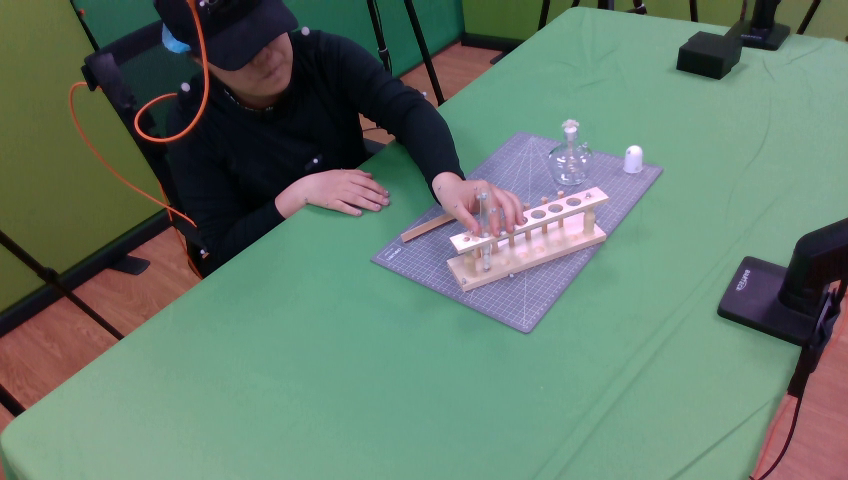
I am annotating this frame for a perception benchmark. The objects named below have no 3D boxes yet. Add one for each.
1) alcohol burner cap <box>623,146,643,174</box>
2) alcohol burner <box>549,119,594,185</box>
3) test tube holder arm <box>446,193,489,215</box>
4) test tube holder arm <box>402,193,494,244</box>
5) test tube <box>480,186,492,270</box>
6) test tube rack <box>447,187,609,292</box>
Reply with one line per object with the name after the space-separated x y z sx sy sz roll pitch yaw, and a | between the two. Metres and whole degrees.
0.369 -0.142 1.061 0.034 0.048 0.033 -6 40 6 | alcohol burner cap
0.254 -0.155 1.043 0.078 0.120 0.077 -7 40 6 | alcohol burner
0.078 -0.057 1.037 0.088 0.015 0.010 -27 9 -17 | test tube holder arm
0.042 -0.037 1.018 0.179 0.015 0.013 -27 9 -18 | test tube holder arm
0.088 -0.014 0.852 0.017 0.151 0.017 -3 42 3 | test tube
0.155 -0.011 0.912 0.243 0.085 0.066 -19 41 -12 | test tube rack
